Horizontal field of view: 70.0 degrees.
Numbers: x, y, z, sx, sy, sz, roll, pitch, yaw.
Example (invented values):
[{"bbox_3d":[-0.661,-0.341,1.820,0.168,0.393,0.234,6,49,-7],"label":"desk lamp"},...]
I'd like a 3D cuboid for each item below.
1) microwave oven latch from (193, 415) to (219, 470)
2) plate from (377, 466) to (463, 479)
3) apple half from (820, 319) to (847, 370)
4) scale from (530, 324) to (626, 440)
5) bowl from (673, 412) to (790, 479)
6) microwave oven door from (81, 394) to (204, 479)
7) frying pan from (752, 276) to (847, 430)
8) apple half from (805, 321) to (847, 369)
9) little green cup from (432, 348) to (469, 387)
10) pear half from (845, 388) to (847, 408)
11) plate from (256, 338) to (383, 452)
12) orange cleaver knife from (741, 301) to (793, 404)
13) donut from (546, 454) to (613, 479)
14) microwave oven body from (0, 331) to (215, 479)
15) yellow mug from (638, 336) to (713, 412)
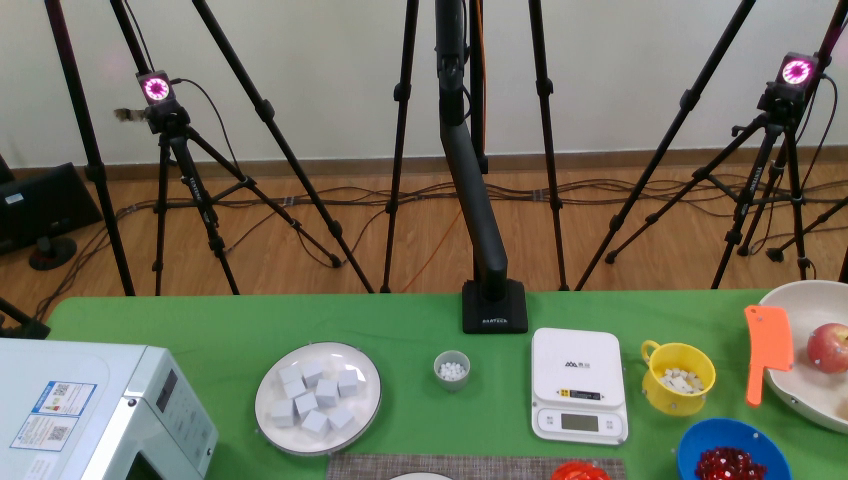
[{"bbox_3d":[-0.343,0.313,0.939,0.030,0.030,0.078,3,47,7],"label":"microwave oven latch"},{"bbox_3d":[-0.007,0.417,0.832,0.209,0.038,0.207,-2,46,3],"label":"plate"},{"bbox_3d":[0.685,0.172,0.995,0.053,0.075,0.080,-5,42,-5],"label":"apple half"},{"bbox_3d":[0.253,0.230,1.007,0.148,0.032,0.199,3,46,8],"label":"scale"},{"bbox_3d":[0.426,0.331,0.861,0.151,0.077,0.150,-2,46,3],"label":"bowl"},{"bbox_3d":[-0.373,0.397,0.715,0.039,0.246,0.352,1,46,6],"label":"microwave oven door"},{"bbox_3d":[0.719,0.241,0.909,0.307,0.104,0.482,-20,39,-14],"label":"frying pan"},{"bbox_3d":[0.647,0.176,0.992,0.033,0.082,0.080,-5,45,-5],"label":"apple half"},{"bbox_3d":[0.046,0.218,1.030,0.061,0.039,0.061,-2,45,3],"label":"little green cup"},{"bbox_3d":[0.680,0.236,0.907,0.075,0.111,0.056,27,54,32],"label":"pear half"},{"bbox_3d":[-0.171,0.258,1.007,0.207,0.039,0.205,-2,45,2],"label":"plate"},{"bbox_3d":[0.544,0.174,0.963,0.077,0.012,0.210,13,48,18],"label":"orange cleaver knife"},{"bbox_3d":[0.223,0.356,0.870,0.099,0.049,0.098,-4,46,4],"label":"donut"},{"bbox_3d":[-0.514,0.367,0.763,0.326,0.262,0.437,2,46,6],"label":"microwave oven body"},{"bbox_3d":[0.400,0.209,0.992,0.100,0.064,0.129,-24,48,-18],"label":"yellow mug"}]
